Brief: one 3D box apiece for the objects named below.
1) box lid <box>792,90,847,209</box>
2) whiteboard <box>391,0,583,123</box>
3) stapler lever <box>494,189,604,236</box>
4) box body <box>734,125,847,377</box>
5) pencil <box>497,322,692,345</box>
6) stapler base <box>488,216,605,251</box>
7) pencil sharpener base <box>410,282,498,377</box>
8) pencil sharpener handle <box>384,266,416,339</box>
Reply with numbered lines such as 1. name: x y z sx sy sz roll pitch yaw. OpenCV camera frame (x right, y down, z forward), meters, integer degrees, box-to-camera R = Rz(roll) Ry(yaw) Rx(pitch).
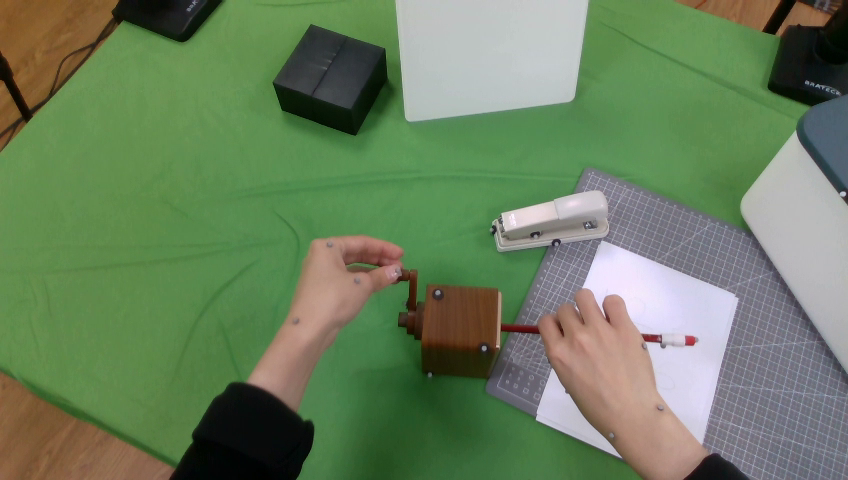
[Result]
1. box lid: 0.521 -0.006 0.522 0.263 0.015 0.368 -19 67 -11
2. whiteboard: 0.063 -0.315 0.699 0.217 0.308 0.142 -8 45 -4
3. stapler lever: 0.136 -0.030 0.656 0.118 0.040 0.026 -9 60 -2
4. box body: 0.521 0.028 0.587 0.254 0.161 0.361 -19 66 -10
5. pencil: 0.140 0.083 0.547 0.194 0.012 0.012 3 64 6
6. stapler base: 0.139 -0.019 0.678 0.130 0.024 0.041 -9 61 -2
7. pencil sharpener base: 0.027 0.088 0.580 0.077 0.108 0.061 4 64 2
8. pencil sharpener handle: -0.023 0.057 0.553 0.030 0.036 0.068 4 102 2
